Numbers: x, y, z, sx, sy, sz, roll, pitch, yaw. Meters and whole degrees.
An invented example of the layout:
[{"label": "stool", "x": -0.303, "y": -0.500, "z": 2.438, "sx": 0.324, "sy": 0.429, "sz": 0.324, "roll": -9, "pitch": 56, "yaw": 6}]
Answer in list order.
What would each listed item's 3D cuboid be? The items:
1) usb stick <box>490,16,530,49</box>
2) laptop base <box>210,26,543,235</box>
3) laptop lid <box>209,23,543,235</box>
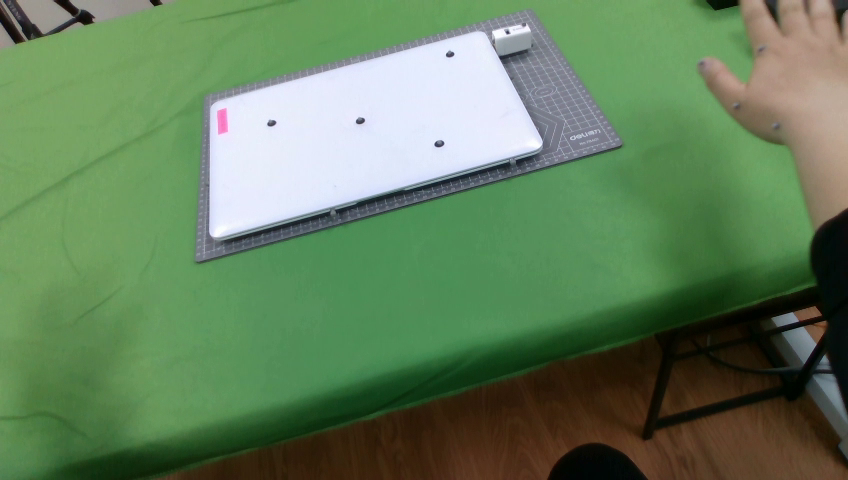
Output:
[{"label": "usb stick", "x": 0.097, "y": -0.250, "z": 0.735, "sx": 0.059, "sy": 0.027, "sz": 0.021, "roll": -17, "pitch": 49, "yaw": 2}, {"label": "laptop base", "x": -0.069, "y": -0.133, "z": 0.689, "sx": 0.354, "sy": 0.023, "sz": 0.233, "roll": -16, "pitch": 52, "yaw": -1}, {"label": "laptop lid", "x": -0.071, "y": -0.138, "z": 0.679, "sx": 0.357, "sy": 0.013, "sz": 0.239, "roll": -15, "pitch": 51, "yaw": 0}]
